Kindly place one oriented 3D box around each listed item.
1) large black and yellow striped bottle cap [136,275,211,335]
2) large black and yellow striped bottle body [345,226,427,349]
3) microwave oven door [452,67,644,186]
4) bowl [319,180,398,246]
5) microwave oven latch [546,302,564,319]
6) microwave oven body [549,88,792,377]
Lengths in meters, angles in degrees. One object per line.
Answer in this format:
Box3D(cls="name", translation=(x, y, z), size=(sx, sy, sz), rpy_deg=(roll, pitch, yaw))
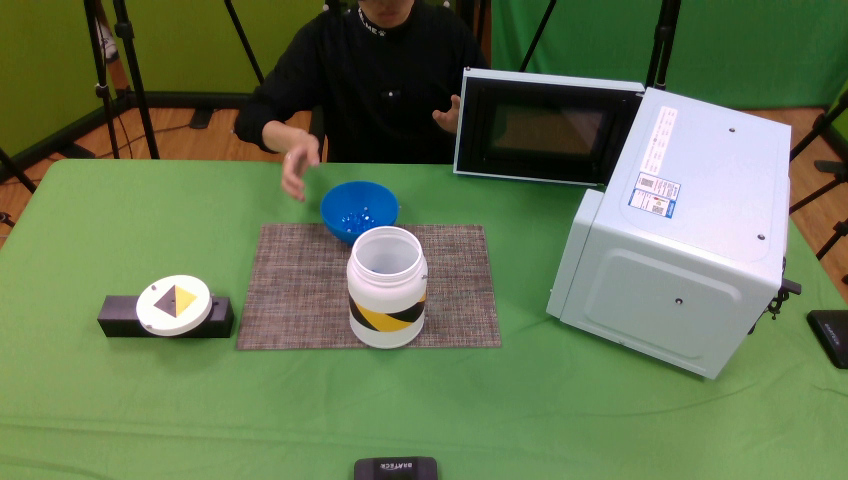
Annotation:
Box3D(cls="large black and yellow striped bottle cap", translation=(-0.412, 0.105, 0.999), size=(0.115, 0.019, 0.114), rpy_deg=(3, 46, -3))
Box3D(cls="large black and yellow striped bottle body", translation=(-0.062, 0.078, 0.998), size=(0.131, 0.185, 0.130), rpy_deg=(2, 46, -2))
Box3D(cls="microwave oven door", translation=(0.246, -0.230, 1.260), size=(0.356, 0.245, 0.039), rpy_deg=(5, 46, 1))
Box3D(cls="bowl", translation=(-0.126, -0.039, 1.181), size=(0.151, 0.077, 0.150), rpy_deg=(3, 46, -2))
Box3D(cls="microwave oven latch", translation=(0.242, 0.102, 1.081), size=(0.030, 0.029, 0.079), rpy_deg=(21, 48, 17))
Box3D(cls="microwave oven body", translation=(0.456, -0.028, 1.088), size=(0.325, 0.261, 0.440), rpy_deg=(20, 47, 16))
